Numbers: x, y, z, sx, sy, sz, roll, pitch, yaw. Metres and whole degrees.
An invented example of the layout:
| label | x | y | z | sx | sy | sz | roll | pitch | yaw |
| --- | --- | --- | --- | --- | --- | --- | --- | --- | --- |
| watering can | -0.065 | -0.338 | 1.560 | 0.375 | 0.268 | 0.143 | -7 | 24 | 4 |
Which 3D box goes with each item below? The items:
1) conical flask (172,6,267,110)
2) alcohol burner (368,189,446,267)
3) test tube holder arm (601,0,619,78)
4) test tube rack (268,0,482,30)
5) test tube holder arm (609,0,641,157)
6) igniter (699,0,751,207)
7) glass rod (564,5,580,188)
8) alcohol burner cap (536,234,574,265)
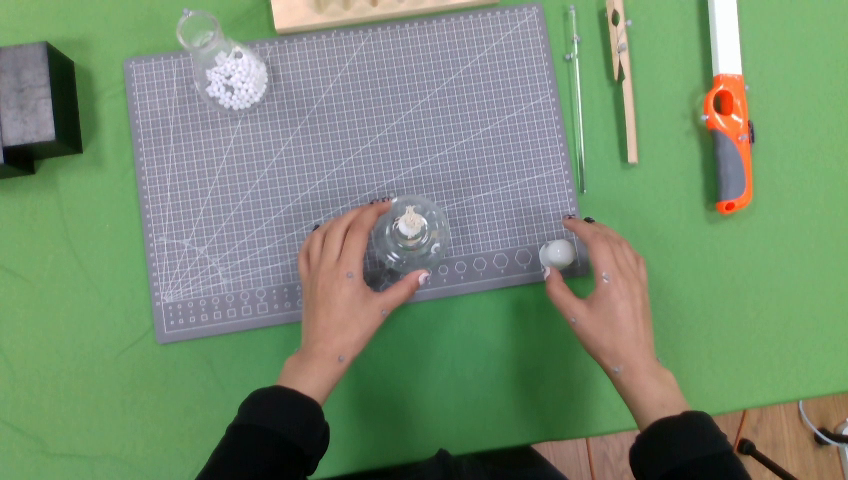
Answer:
| label | x | y | z | sx | sy | sz | roll | pitch | yaw |
| --- | --- | --- | --- | --- | --- | --- | --- | --- | --- |
| conical flask | -0.200 | -0.177 | 0.580 | 0.075 | 0.122 | 0.075 | 0 | 84 | -2 |
| alcohol burner | -0.017 | -0.014 | 0.579 | 0.078 | 0.119 | 0.077 | 0 | 83 | 0 |
| test tube holder arm | 0.204 | -0.221 | 0.658 | 0.010 | 0.015 | 0.087 | -10 | 85 | 34 |
| test tube rack | -0.045 | -0.281 | 0.618 | 0.242 | 0.085 | 0.066 | -10 | 85 | -3 |
| test tube holder arm | 0.215 | -0.177 | 0.652 | 0.013 | 0.015 | 0.178 | -11 | 84 | 33 |
| igniter | 0.322 | -0.172 | 0.653 | 0.057 | 0.025 | 0.276 | 0 | 85 | -13 |
| glass rod | 0.160 | -0.155 | 0.654 | 0.008 | 0.008 | 0.199 | -2 | 87 | -3 |
| alcohol burner cap | 0.136 | 0.008 | 0.620 | 0.034 | 0.048 | 0.034 | 0 | 85 | -5 |
